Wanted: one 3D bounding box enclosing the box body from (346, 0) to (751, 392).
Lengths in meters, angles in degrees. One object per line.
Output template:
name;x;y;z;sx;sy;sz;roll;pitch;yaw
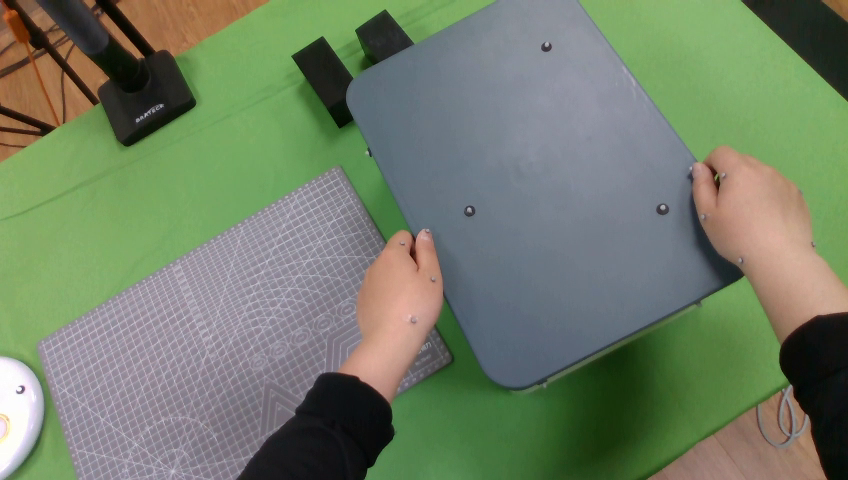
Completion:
box body;0.112;-0.047;0.649;0.254;0.161;0.361;-28;68;-1

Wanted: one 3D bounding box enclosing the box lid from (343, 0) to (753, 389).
box lid;0.099;-0.074;0.581;0.263;0.015;0.368;-28;69;0

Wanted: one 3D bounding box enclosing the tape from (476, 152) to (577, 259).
tape;0.117;-0.040;0.699;0.117;0.053;0.116;-3;70;8

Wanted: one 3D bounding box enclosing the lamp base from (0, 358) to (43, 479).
lamp base;-0.568;0.197;0.673;0.178;0.182;0.159;5;71;15
